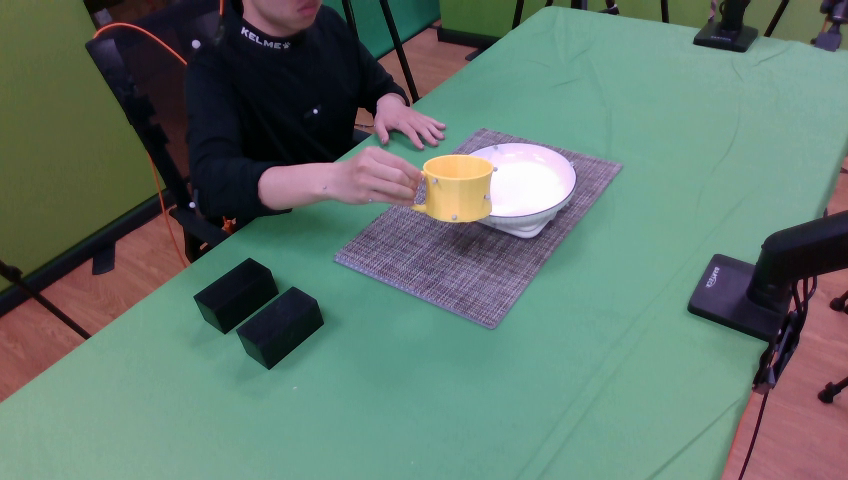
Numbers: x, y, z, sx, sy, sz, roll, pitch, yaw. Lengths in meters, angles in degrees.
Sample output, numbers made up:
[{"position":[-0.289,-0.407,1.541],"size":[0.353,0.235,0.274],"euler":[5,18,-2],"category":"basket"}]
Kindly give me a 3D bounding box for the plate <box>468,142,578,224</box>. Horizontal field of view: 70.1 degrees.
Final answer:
[{"position":[0.145,-0.089,0.989],"size":[0.209,0.038,0.208],"euler":[-4,41,4],"category":"plate"}]

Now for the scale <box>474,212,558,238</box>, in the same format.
[{"position":[0.132,-0.075,1.025],"size":[0.199,0.032,0.149],"euler":[22,48,30],"category":"scale"}]

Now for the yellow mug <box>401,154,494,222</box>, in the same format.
[{"position":[0.033,-0.073,0.844],"size":[0.131,0.064,0.099],"euler":[-7,27,-12],"category":"yellow mug"}]
